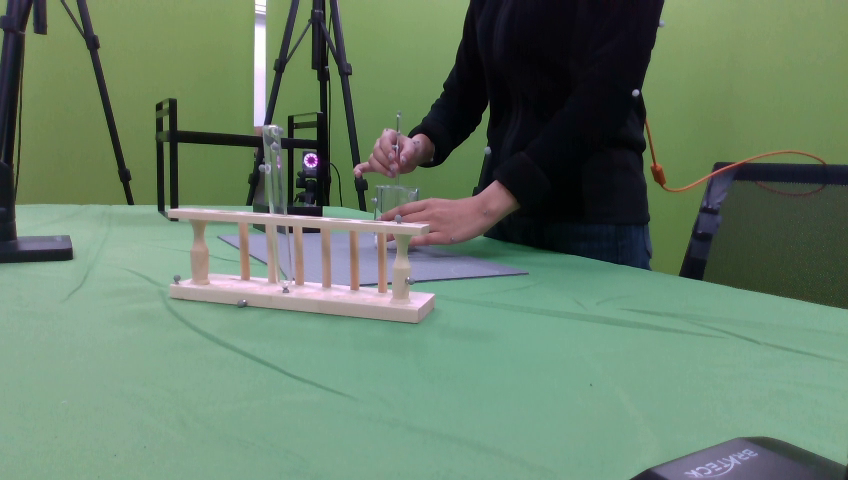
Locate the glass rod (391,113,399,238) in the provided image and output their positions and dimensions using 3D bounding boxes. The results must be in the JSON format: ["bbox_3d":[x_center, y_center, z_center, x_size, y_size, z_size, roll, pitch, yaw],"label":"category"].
[{"bbox_3d":[-0.046,-0.098,0.955,0.008,0.199,0.008,2,13,0],"label":"glass rod"}]

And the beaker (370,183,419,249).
[{"bbox_3d":[-0.044,-0.038,0.953,0.074,0.100,0.083,-5,11,-41],"label":"beaker"}]

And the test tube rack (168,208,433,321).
[{"bbox_3d":[-0.115,0.017,0.574,0.242,0.085,0.067,4,8,13],"label":"test tube rack"}]

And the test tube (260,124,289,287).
[{"bbox_3d":[-0.138,-0.031,0.556,0.017,0.150,0.017,-3,6,1],"label":"test tube"}]
